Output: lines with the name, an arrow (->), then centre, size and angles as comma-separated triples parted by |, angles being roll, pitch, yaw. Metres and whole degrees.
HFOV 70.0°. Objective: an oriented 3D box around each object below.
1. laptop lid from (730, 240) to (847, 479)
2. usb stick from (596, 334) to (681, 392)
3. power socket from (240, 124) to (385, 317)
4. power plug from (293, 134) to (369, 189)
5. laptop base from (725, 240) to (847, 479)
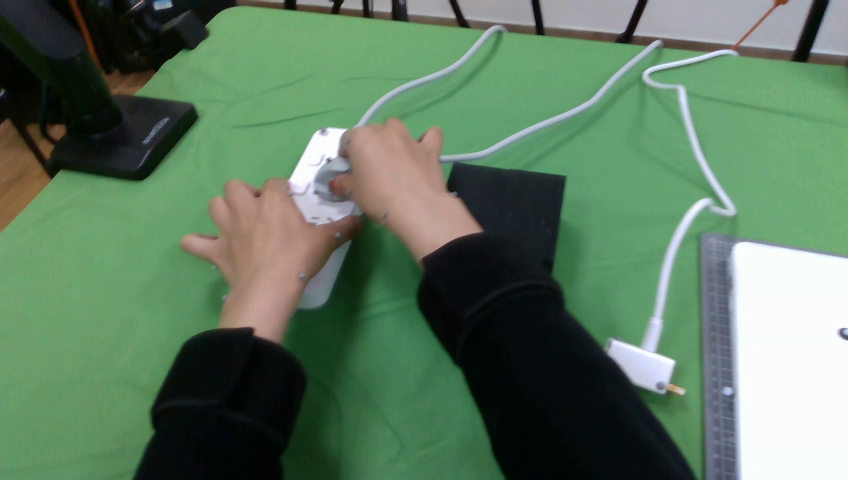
laptop lid -> 0.387, 0.115, 0.392 | 0.355, 0.013, 0.240 | 12, 52, 14
usb stick -> 0.156, 0.090, 0.433 | 0.059, 0.021, 0.027 | 22, 89, 8
power socket -> -0.095, -0.030, 0.553 | 0.072, 0.033, 0.225 | 9, 49, 10
power plug -> -0.081, -0.076, 0.526 | 0.053, 0.073, 0.035 | 22, 32, -12
laptop base -> 0.388, 0.122, 0.402 | 0.353, 0.023, 0.234 | 11, 53, 12
